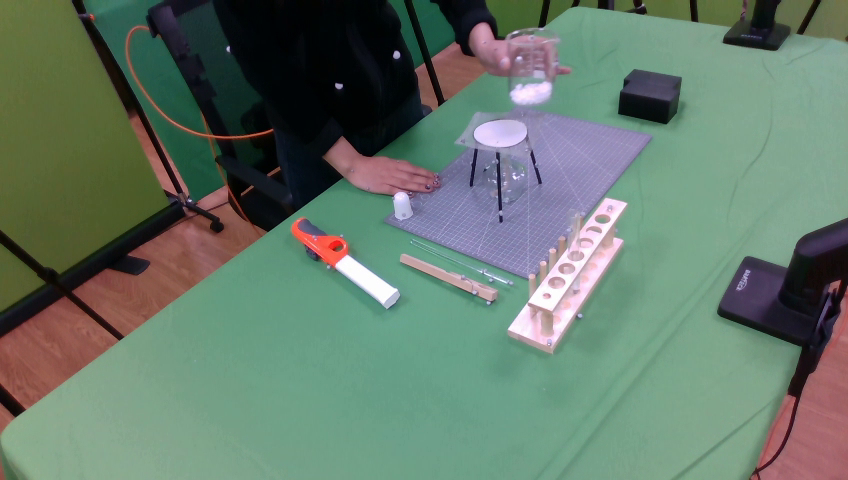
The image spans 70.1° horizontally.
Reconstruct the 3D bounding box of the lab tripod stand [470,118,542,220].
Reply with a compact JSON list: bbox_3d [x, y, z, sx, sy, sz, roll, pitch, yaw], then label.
[{"bbox_3d":[0.135,-0.128,1.019,0.148,0.132,0.147,-5,38,5],"label":"lab tripod stand"}]

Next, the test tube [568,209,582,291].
[{"bbox_3d":[0.200,0.017,0.799,0.017,0.151,0.017,-8,45,8],"label":"test tube"}]

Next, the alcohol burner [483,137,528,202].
[{"bbox_3d":[0.138,-0.125,1.030,0.078,0.119,0.077,-4,41,4],"label":"alcohol burner"}]

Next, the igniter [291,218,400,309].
[{"bbox_3d":[-0.136,0.031,0.970,0.057,0.025,0.274,-41,49,-19],"label":"igniter"}]

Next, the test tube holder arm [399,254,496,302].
[{"bbox_3d":[0.032,0.055,0.914,0.177,0.015,0.013,21,16,32],"label":"test tube holder arm"}]

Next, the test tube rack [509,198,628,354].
[{"bbox_3d":[0.206,0.039,0.850,0.066,0.085,0.243,20,48,31],"label":"test tube rack"}]

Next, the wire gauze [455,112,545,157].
[{"bbox_3d":[0.123,-0.176,0.972,0.124,0.011,0.121,9,42,20],"label":"wire gauze"}]

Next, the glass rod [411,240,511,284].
[{"bbox_3d":[0.053,0.033,0.946,0.198,0.008,0.008,22,50,36],"label":"glass rod"}]

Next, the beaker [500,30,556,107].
[{"bbox_3d":[0.162,-0.264,0.939,0.083,0.100,0.074,7,38,19],"label":"beaker"}]

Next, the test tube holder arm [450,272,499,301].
[{"bbox_3d":[0.071,0.068,0.894,0.087,0.015,0.010,21,16,32],"label":"test tube holder arm"}]

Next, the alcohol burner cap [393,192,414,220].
[{"bbox_3d":[-0.038,-0.061,1.043,0.034,0.048,0.033,-5,40,5],"label":"alcohol burner cap"}]
